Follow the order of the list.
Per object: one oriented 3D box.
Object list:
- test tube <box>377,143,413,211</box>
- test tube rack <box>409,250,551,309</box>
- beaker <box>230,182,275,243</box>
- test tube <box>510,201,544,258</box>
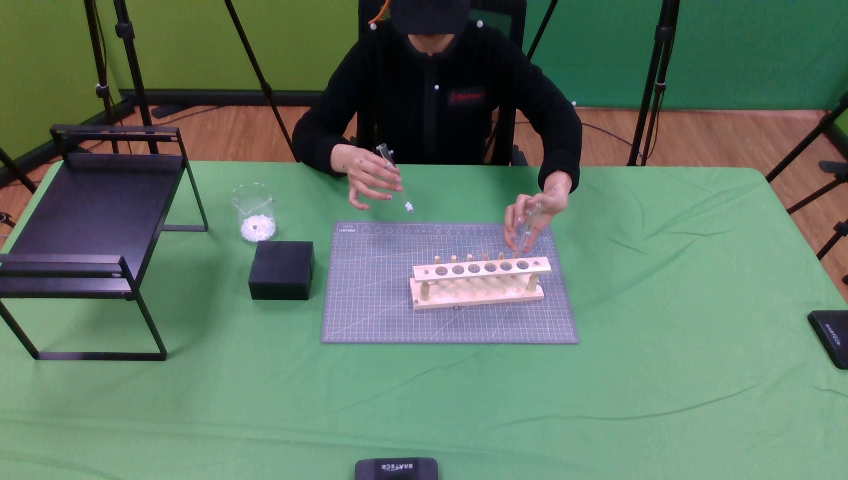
[{"bbox_3d":[-0.053,-0.117,1.150,0.017,0.151,0.017,-17,32,11],"label":"test tube"},{"bbox_3d":[0.098,0.065,1.096,0.243,0.085,0.066,-4,47,-8],"label":"test tube rack"},{"bbox_3d":[-0.328,-0.049,1.166,0.074,0.101,0.083,2,47,-2],"label":"beaker"},{"bbox_3d":[0.178,-0.011,1.054,0.017,0.151,0.017,8,46,-8],"label":"test tube"}]
